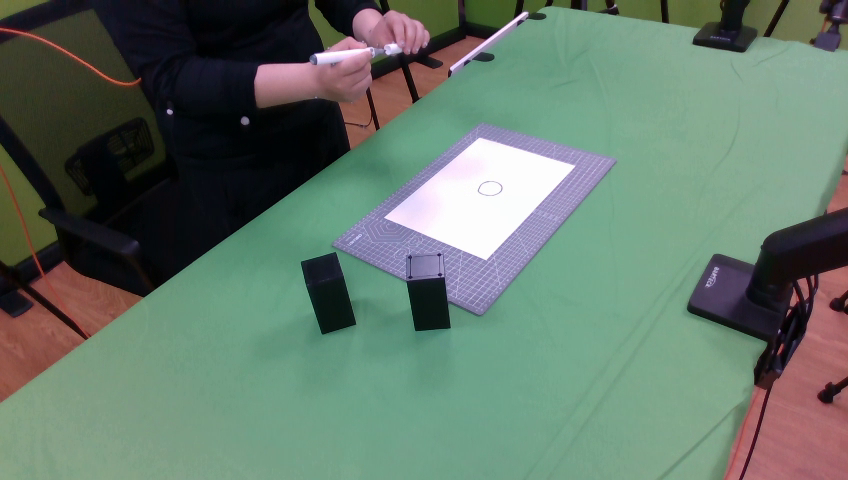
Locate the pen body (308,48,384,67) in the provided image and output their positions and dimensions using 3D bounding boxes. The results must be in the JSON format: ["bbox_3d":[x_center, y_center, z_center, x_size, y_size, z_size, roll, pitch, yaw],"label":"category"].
[{"bbox_3d":[-0.116,-0.283,0.934,0.017,0.017,0.145,29,38,36],"label":"pen body"}]

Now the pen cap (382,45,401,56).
[{"bbox_3d":[-0.053,-0.312,0.996,0.017,0.017,0.038,17,25,26],"label":"pen cap"}]
